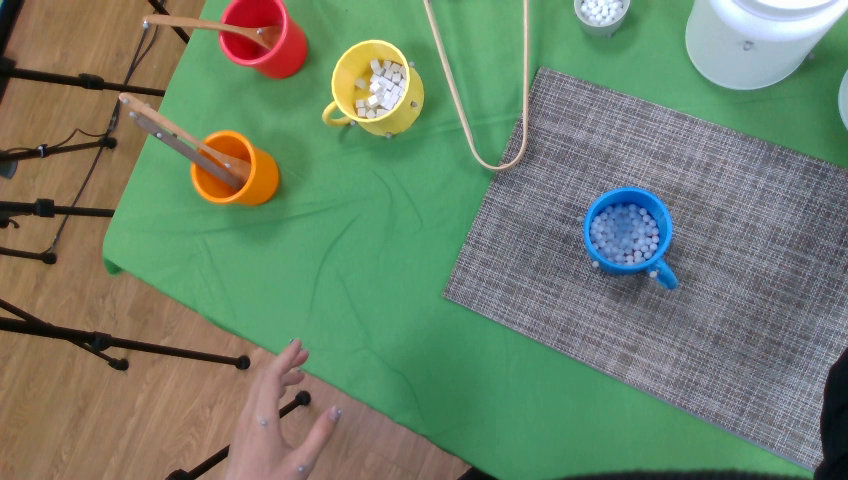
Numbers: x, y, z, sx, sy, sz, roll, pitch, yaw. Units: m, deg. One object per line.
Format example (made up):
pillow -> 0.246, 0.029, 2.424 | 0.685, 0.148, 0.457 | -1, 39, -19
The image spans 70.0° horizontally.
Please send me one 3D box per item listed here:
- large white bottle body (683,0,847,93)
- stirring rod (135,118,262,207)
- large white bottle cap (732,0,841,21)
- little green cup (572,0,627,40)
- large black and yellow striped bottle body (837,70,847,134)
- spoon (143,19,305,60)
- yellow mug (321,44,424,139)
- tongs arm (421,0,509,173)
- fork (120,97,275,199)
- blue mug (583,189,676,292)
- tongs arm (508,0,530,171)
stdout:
large white bottle body -> 0.333, -0.234, 0.589 | 0.130, 0.185, 0.130 | -1, 84, 15
stirring rod -> -0.279, -0.094, 0.761 | 0.006, 0.178, 0.014 | 14, 70, 58
large white bottle cap -> 0.309, -0.242, 0.508 | 0.114, 0.018, 0.114 | -2, 85, 15
little green cup -> 0.203, -0.264, 0.702 | 0.061, 0.039, 0.061 | -1, 86, 15
large black and yellow striped bottle body -> 0.476, -0.152, 0.545 | 0.130, 0.185, 0.130 | -1, 84, 15
spoon -> -0.249, -0.260, 0.768 | 0.195, 0.021, 0.041 | 2, 82, -29
yellow mug -> -0.071, -0.174, 0.753 | 0.131, 0.064, 0.099 | -29, 79, 12
tongs arm -> 0.028, -0.262, 0.729 | 0.051, 0.026, 0.384 | -15, 89, 9
fork -> -0.280, -0.114, 0.759 | 0.209, 0.018, 0.028 | 34, 95, -29
blue mug -> 0.221, 0.009, 0.636 | 0.082, 0.106, 0.116 | -41, 76, 8
tongs arm -> 0.110, -0.277, 0.712 | 0.028, 0.028, 0.387 | -1, 92, 6
